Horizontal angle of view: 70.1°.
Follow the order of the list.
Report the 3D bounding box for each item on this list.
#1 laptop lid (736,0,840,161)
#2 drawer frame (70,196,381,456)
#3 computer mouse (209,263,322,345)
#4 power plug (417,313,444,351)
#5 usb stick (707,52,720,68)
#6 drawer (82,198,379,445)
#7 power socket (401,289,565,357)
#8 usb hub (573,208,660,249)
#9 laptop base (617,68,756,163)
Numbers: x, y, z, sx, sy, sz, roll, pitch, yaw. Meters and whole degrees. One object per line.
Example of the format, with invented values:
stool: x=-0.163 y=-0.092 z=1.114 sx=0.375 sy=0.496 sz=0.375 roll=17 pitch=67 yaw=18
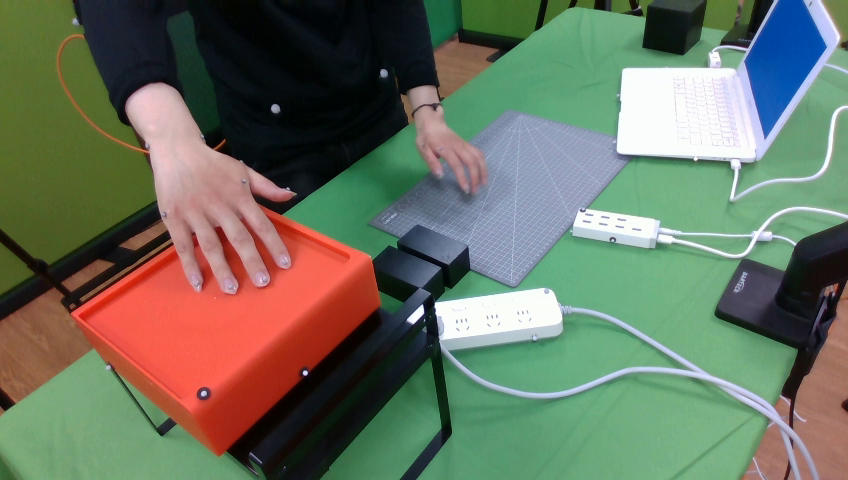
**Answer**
laptop lid: x=0.641 y=-0.327 z=1.090 sx=0.013 sy=0.242 sz=0.356 roll=16 pitch=43 yaw=5
drawer frame: x=-0.187 y=0.067 z=0.597 sx=0.200 sy=0.083 sz=0.214 roll=23 pitch=50 yaw=30
computer mouse: x=-0.164 y=0.062 z=0.624 sx=0.116 sy=0.041 sz=0.063 roll=23 pitch=44 yaw=26
power plug: x=0.007 y=0.127 z=0.786 sx=0.035 sy=0.053 sz=0.072 roll=1 pitch=43 yaw=9
usb stick: x=0.629 y=-0.382 z=1.313 sx=0.021 sy=0.027 sz=0.059 roll=2 pitch=46 yaw=17
drawer: x=-0.185 y=0.066 z=0.600 sx=0.193 sy=0.073 sz=0.212 roll=24 pitch=50 yaw=31
power socket: x=0.080 y=0.112 z=0.822 sx=0.227 sy=0.033 sz=0.072 roll=-7 pitch=41 yaw=-1
usb hub: x=0.301 y=-0.019 z=0.949 sx=0.124 sy=0.025 sz=0.049 roll=11 pitch=43 yaw=20
laptop base: x=0.509 y=-0.255 z=1.201 sx=0.234 sy=0.023 sz=0.353 roll=4 pitch=41 yaw=16
